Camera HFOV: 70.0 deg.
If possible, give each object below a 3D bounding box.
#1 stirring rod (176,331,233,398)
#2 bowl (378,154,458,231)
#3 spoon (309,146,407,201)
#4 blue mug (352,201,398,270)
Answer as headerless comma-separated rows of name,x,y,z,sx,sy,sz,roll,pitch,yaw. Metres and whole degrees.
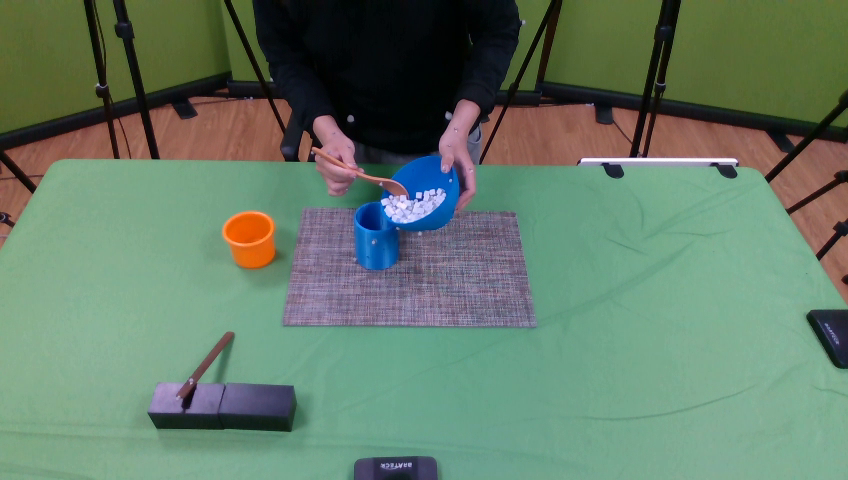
stirring rod,-0.342,0.192,0.955,0.014,0.006,0.175,3,24,7
bowl,0.003,-0.069,1.073,0.151,0.077,0.150,-18,49,22
spoon,-0.115,-0.119,1.071,0.194,0.042,0.021,24,65,-5
blue mug,-0.082,-0.017,1.144,0.082,0.106,0.116,30,51,22
